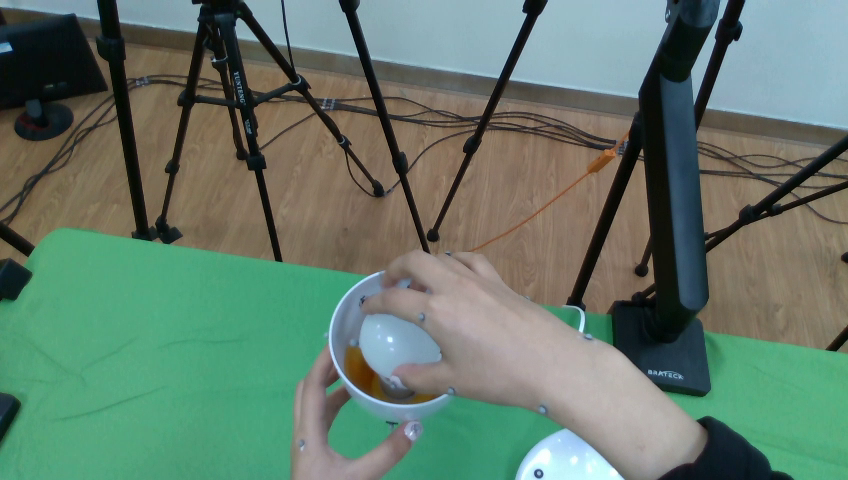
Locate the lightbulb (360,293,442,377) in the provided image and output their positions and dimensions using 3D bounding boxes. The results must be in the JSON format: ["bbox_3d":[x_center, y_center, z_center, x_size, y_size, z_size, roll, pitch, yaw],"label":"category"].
[{"bbox_3d":[-0.017,0.080,0.462,0.059,0.108,0.059,1,61,-2],"label":"lightbulb"}]

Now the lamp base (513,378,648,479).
[{"bbox_3d":[0.183,0.233,0.632,0.161,0.182,0.177,-3,52,-6],"label":"lamp base"}]

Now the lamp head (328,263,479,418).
[{"bbox_3d":[-0.013,0.094,0.492,0.112,0.124,0.111,-1,58,2],"label":"lamp head"}]
